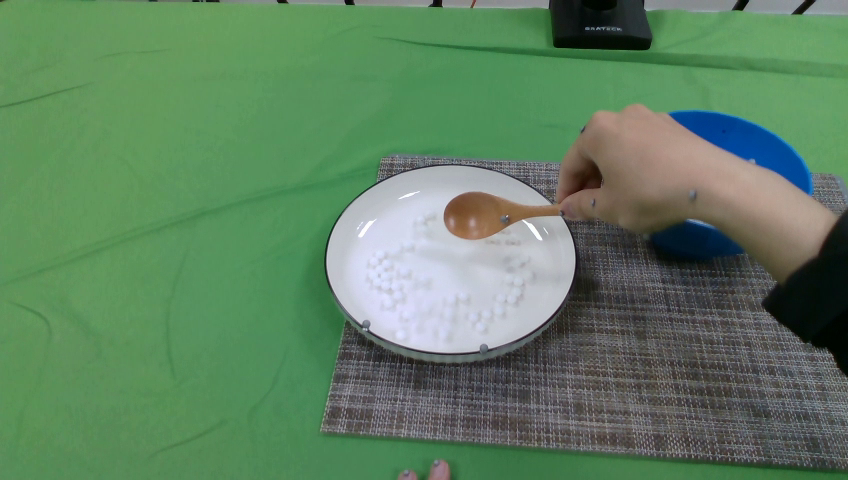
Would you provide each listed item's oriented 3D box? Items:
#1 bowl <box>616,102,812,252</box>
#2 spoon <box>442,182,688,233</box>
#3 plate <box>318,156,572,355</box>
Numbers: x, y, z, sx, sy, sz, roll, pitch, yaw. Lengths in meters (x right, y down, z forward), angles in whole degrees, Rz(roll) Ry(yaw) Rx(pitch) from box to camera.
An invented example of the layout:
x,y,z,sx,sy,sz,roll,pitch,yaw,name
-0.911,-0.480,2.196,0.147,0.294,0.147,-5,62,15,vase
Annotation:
x,y,z,sx,sy,sz,roll,pitch,yaw,name
0.236,-0.043,0.523,0.151,0.077,0.150,-1,49,1,bowl
0.097,-0.028,0.460,0.192,0.041,0.022,-2,1,38,spoon
0.017,0.011,0.511,0.208,0.039,0.205,-1,49,1,plate
